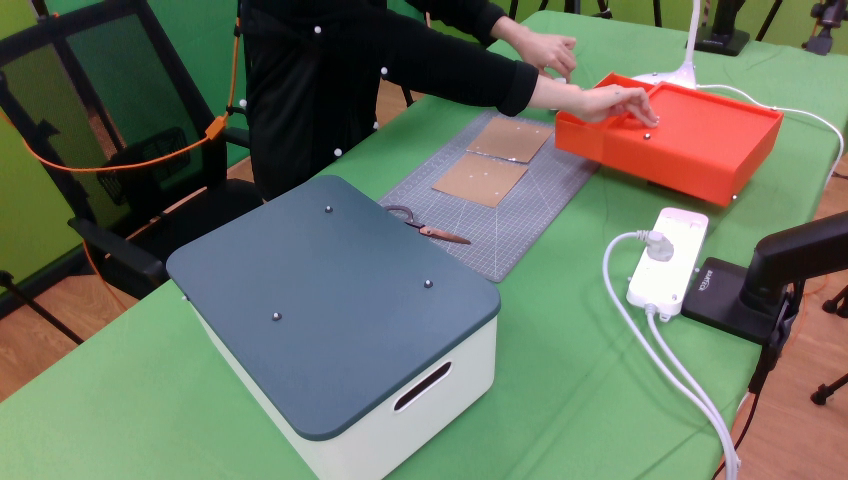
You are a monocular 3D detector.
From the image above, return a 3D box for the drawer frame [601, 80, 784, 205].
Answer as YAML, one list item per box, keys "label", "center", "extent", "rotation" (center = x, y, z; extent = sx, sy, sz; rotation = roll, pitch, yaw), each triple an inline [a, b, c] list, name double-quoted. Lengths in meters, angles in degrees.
- label: "drawer frame"
  center: [0.437, -0.168, 0.995]
  extent: [0.212, 0.083, 0.202]
  rotation: [28, 51, 33]

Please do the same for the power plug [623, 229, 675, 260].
- label: "power plug"
  center: [0.327, 0.007, 0.878]
  extent: [0.072, 0.053, 0.035]
  rotation: [25, 51, 33]

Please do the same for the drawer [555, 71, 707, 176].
- label: "drawer"
  center: [0.367, -0.201, 1.047]
  extent: [0.210, 0.073, 0.195]
  rotation: [28, 51, 33]

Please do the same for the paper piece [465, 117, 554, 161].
- label: "paper piece"
  center: [0.171, -0.201, 1.195]
  extent: [0.137, 0.009, 0.136]
  rotation: [17, 43, 27]

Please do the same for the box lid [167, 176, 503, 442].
- label: "box lid"
  center: [-0.119, 0.047, 0.714]
  extent: [0.264, 0.015, 0.368]
  rotation: [-32, 47, -27]

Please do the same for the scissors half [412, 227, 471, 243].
- label: "scissors half"
  center: [-0.007, -0.010, 0.993]
  extent: [0.174, 0.013, 0.040]
  rotation: [8, 47, 15]

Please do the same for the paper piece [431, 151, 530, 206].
- label: "paper piece"
  center: [0.103, -0.116, 1.104]
  extent: [0.135, 0.004, 0.136]
  rotation: [20, 47, 28]

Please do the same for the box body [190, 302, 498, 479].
- label: "box body"
  center: [-0.110, 0.103, 0.761]
  extent: [0.255, 0.161, 0.361]
  rotation: [-33, 46, -27]

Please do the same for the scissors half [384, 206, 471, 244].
- label: "scissors half"
  center: [0.001, -0.024, 1.005]
  extent: [0.174, 0.013, 0.040]
  rotation: [22, 57, 25]

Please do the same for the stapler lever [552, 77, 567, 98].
- label: "stapler lever"
  center: [0.283, -0.329, 1.266]
  extent: [0.027, 0.040, 0.118]
  rotation: [4, 29, 7]

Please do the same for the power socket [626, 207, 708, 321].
- label: "power socket"
  center: [0.360, 0.026, 0.886]
  extent: [0.072, 0.033, 0.227]
  rotation: [16, 46, 26]

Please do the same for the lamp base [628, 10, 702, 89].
- label: "lamp base"
  center: [0.484, -0.364, 1.211]
  extent: [0.180, 0.181, 0.159]
  rotation: [-15, 41, -14]

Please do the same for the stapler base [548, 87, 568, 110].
- label: "stapler base"
  center: [0.284, -0.306, 1.277]
  extent: [0.041, 0.024, 0.130]
  rotation: [4, 30, 7]
